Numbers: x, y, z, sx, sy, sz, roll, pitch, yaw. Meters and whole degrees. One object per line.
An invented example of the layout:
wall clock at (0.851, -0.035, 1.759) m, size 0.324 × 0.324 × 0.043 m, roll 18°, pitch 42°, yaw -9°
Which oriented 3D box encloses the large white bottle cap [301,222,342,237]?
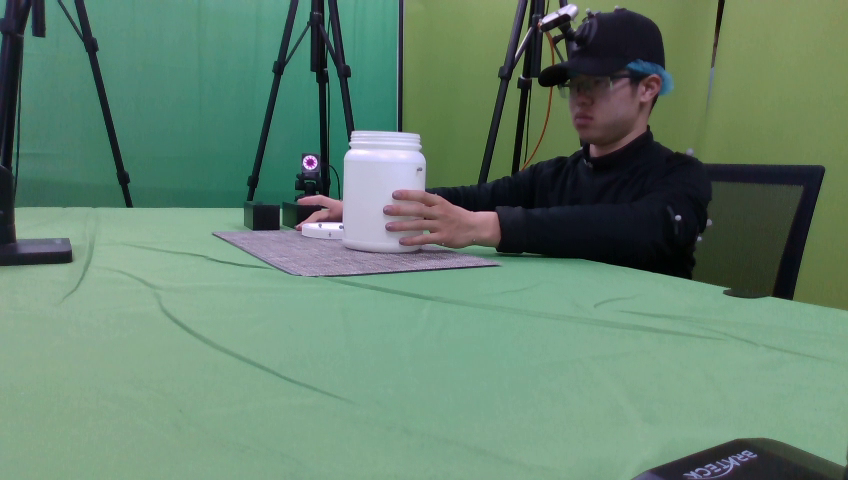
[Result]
large white bottle cap at (-0.167, -0.019, 1.103) m, size 0.115 × 0.018 × 0.115 m, roll 2°, pitch 6°, yaw 0°

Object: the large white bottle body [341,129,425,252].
large white bottle body at (-0.064, -0.080, 0.958) m, size 0.131 × 0.184 × 0.130 m, roll 2°, pitch 8°, yaw 0°
